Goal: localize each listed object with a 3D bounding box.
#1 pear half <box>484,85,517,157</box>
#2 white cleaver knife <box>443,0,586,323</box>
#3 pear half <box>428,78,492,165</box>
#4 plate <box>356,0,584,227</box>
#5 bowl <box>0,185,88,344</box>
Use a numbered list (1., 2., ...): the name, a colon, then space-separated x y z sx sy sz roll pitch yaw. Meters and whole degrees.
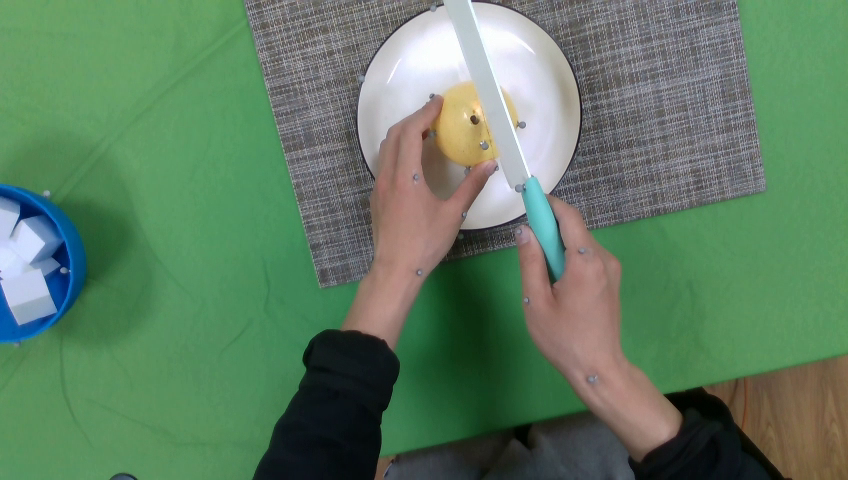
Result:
1. pear half: 0.065 -0.112 0.533 0.031 0.088 0.070 -17 94 6
2. white cleaver knife: 0.070 -0.063 0.466 0.021 0.065 0.288 -22 106 -3
3. pear half: 0.031 -0.101 0.527 0.056 0.110 0.076 -17 92 5
4. plate: 0.042 -0.116 0.569 0.207 0.039 0.208 0 99 3
5. bowl: -0.391 0.018 0.592 0.151 0.076 0.151 0 98 2
